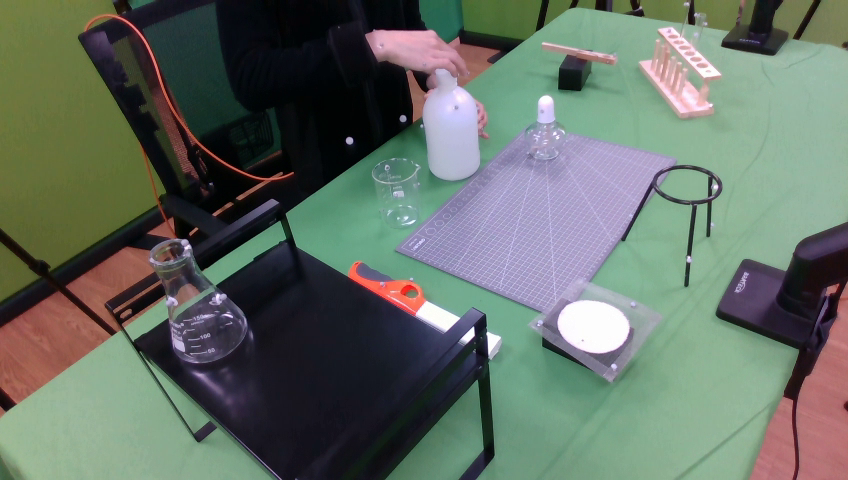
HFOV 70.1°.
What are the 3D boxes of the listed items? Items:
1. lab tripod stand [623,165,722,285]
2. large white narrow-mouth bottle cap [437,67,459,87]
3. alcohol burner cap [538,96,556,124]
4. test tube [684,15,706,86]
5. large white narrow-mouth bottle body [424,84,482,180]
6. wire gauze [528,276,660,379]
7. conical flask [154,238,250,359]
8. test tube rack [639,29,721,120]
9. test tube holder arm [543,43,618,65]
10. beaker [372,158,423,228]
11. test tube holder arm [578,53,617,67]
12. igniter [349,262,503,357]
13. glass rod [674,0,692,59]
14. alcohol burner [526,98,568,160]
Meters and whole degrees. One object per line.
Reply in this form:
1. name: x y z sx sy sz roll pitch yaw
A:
1. lab tripod stand: 0.365 -0.030 0.874 0.148 0.132 0.147 -6 41 6
2. large white narrow-mouth bottle cap: 0.042 -0.279 1.031 0.038 0.024 0.037 -4 41 4
3. alcohol burner cap: 0.222 -0.237 1.095 0.034 0.048 0.033 -7 34 5
4. test tube: 0.541 -0.378 1.216 0.017 0.151 0.017 -2 44 3
5. large white narrow-mouth bottle body: 0.051 -0.212 1.090 0.102 0.195 0.101 -4 41 4
6. wire gauze: 0.214 0.103 0.763 0.124 0.011 0.122 30 52 35
7. conical flask: -0.225 0.055 0.597 0.075 0.122 0.075 -5 41 4
8. test tube rack: 0.527 -0.351 1.262 0.067 0.085 0.241 -8 40 1
9. test tube holder arm: 0.345 -0.413 1.341 0.177 0.015 0.013 25 50 31
10. beaker: -0.039 -0.079 1.022 0.084 0.101 0.073 -16 41 -11
11. test tube holder arm: 0.376 -0.393 1.314 0.087 0.015 0.010 26 51 32
12. igniter: -0.008 0.093 0.870 0.274 0.025 0.057 24 60 33
13. glass rod: 0.537 -0.437 1.257 0.008 0.200 0.008 0 39 1
14. alcohol burner: 0.228 -0.210 1.118 0.078 0.119 0.077 -5 43 5
